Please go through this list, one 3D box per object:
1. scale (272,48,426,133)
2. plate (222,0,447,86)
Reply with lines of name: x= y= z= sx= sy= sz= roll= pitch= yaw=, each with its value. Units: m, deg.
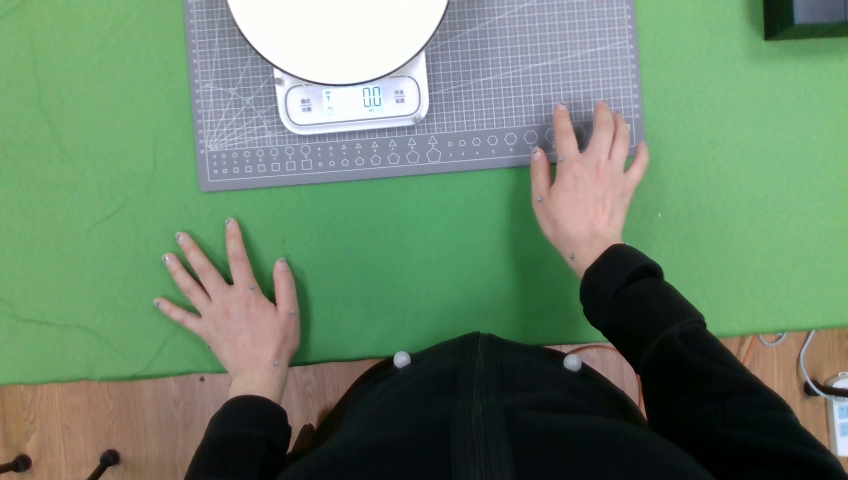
scale: x=-0.079 y=-0.212 z=0.593 sx=0.149 sy=0.031 sz=0.201 roll=-6 pitch=91 yaw=-1
plate: x=-0.080 y=-0.243 z=0.560 sx=0.209 sy=0.038 sz=0.209 roll=0 pitch=91 yaw=-2
